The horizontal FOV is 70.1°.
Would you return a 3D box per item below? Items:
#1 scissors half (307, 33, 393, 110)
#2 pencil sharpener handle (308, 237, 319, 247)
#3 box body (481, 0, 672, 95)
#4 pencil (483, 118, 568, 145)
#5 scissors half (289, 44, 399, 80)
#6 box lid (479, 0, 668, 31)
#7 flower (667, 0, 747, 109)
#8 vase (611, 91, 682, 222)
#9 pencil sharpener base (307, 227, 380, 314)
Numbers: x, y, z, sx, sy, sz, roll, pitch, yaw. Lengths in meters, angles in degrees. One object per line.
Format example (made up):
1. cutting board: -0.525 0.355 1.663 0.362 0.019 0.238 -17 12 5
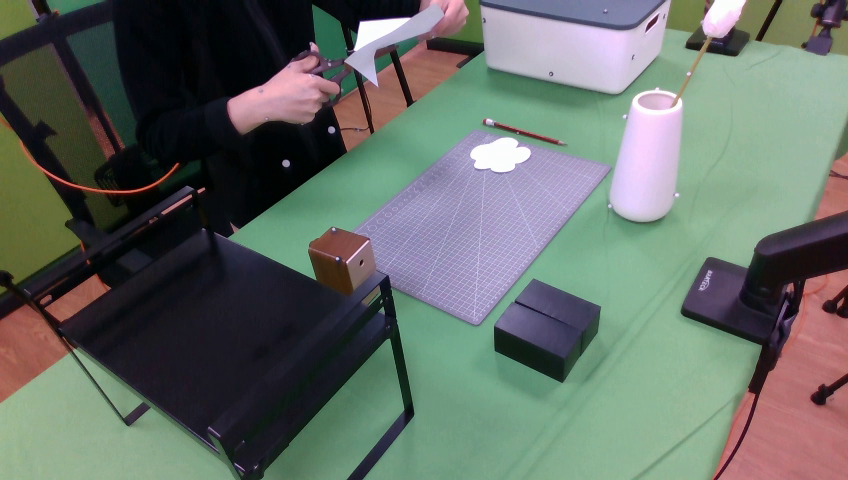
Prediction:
1. scissors half: -0.113 -0.260 0.934 0.175 0.040 0.012 -38 22 22
2. pencil sharpener handle: -0.159 0.017 0.892 0.030 0.068 0.036 18 60 28
3. box body: 0.341 -0.480 1.381 0.361 0.161 0.255 22 48 30
4. pencil: 0.201 -0.217 1.212 0.192 0.012 0.012 24 49 29
5. scissors half: -0.124 -0.278 0.923 0.175 0.040 0.013 -9 34 7
6. box lid: 0.335 -0.536 1.331 0.368 0.015 0.264 23 49 30
7. flower: 0.354 -0.187 0.879 0.038 0.362 0.044 30 48 14
8. vase: 0.348 -0.125 0.935 0.098 0.201 0.097 -3 40 3
9. pencil sharpener base: -0.116 0.043 0.875 0.076 0.107 0.061 18 47 27
